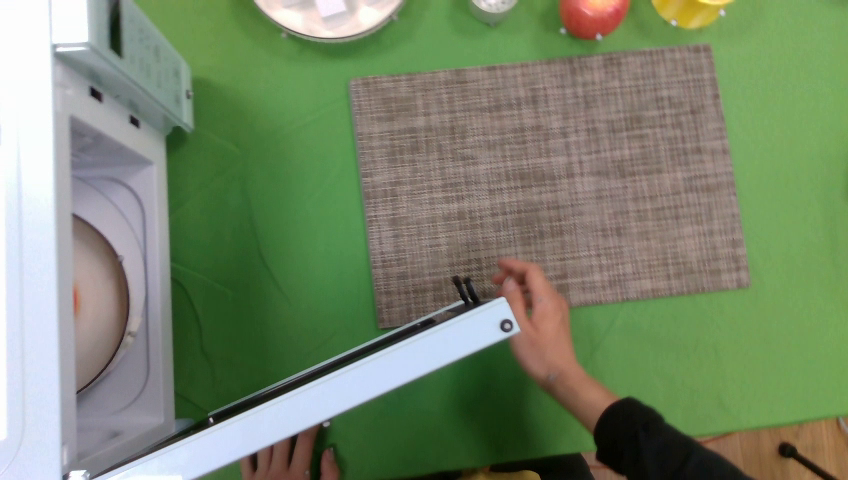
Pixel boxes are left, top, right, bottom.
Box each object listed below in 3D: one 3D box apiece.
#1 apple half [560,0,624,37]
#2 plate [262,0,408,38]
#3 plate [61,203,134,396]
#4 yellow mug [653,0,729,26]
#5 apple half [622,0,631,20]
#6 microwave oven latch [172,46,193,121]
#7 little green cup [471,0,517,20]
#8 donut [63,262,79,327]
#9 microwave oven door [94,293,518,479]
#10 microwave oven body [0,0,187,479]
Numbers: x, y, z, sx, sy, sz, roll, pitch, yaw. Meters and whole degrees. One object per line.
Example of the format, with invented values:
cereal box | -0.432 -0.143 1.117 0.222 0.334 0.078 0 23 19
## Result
apple half | 0.190 -0.276 0.716 0.053 0.074 0.081 -33 91 0
plate | -0.106 -0.338 0.724 0.208 0.039 0.207 0 85 -3
plate | -0.398 0.062 0.614 0.209 0.038 0.208 0 86 -3
yellow mug | 0.319 -0.321 0.729 0.131 0.064 0.099 5 84 -2
apple half | 0.223 -0.297 0.718 0.033 0.081 0.081 -33 87 0
microwave oven latch | -0.278 -0.176 0.683 0.030 0.029 0.079 -2 86 -3
little green cup | 0.085 -0.298 0.730 0.061 0.038 0.061 0 85 -2
donut | -0.395 0.058 0.601 0.099 0.048 0.098 0 83 -2
microwave oven door | -0.097 0.134 0.566 0.356 0.244 0.039 -24 85 -4
microwave oven body | -0.411 -0.001 0.566 0.326 0.260 0.440 -3 86 -3
